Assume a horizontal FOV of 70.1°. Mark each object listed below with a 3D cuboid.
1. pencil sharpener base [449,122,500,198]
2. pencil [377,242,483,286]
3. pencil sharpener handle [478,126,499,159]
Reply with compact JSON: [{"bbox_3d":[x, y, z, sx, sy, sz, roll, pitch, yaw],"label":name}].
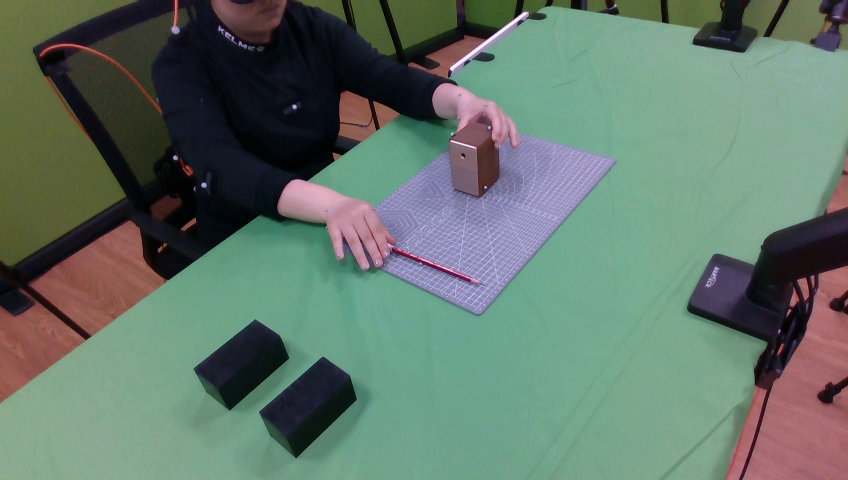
[{"bbox_3d":[0.091,-0.141,1.052,0.061,0.107,0.077,20,47,30],"label":"pencil sharpener base"},{"bbox_3d":[0.006,0.037,0.931,0.192,0.012,0.012,21,48,27],"label":"pencil"},{"bbox_3d":[0.119,-0.179,1.075,0.035,0.068,0.031,20,47,30],"label":"pencil sharpener handle"}]
